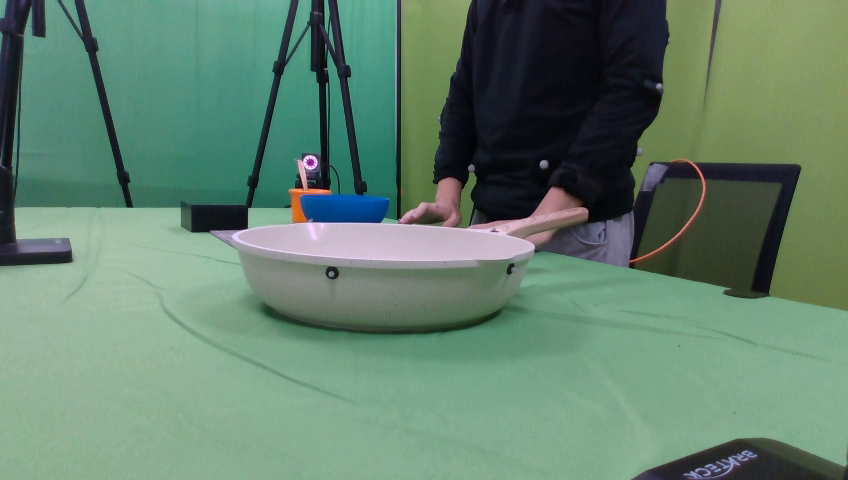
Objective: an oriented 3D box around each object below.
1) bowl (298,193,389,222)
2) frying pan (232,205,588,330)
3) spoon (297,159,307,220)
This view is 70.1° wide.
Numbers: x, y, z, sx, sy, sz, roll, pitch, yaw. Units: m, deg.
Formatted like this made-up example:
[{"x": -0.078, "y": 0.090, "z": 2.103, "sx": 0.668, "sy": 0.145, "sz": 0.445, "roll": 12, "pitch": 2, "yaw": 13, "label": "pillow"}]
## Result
[{"x": -0.136, "y": -0.037, "z": 1.018, "sx": 0.151, "sy": 0.077, "sz": 0.151, "roll": 2, "pitch": 7, "yaw": 0, "label": "bowl"}, {"x": 0.039, "y": 0.005, "z": 0.670, "sx": 0.490, "sy": 0.102, "sz": 0.305, "roll": -15, "pitch": 17, "yaw": -39, "label": "frying pan"}, {"x": -0.264, "y": -0.114, "z": 1.338, "sx": 0.042, "sy": 0.193, "sz": 0.021, "roll": 0, "pitch": -37, "yaw": -21, "label": "spoon"}]
